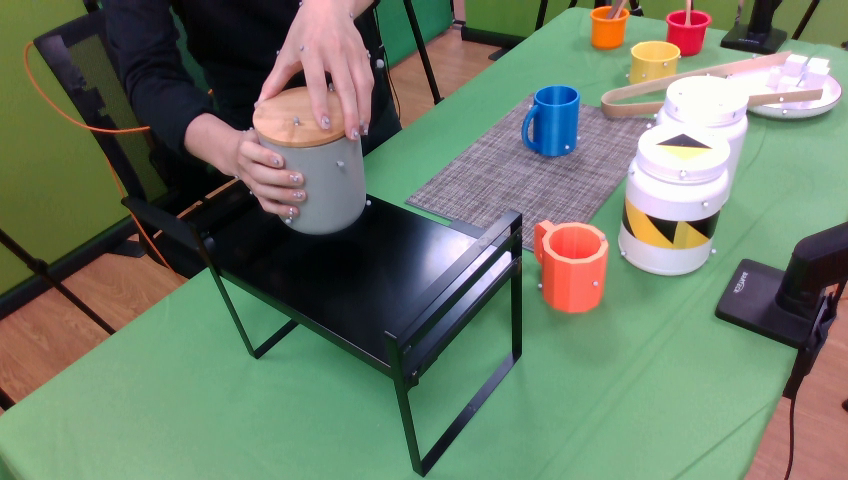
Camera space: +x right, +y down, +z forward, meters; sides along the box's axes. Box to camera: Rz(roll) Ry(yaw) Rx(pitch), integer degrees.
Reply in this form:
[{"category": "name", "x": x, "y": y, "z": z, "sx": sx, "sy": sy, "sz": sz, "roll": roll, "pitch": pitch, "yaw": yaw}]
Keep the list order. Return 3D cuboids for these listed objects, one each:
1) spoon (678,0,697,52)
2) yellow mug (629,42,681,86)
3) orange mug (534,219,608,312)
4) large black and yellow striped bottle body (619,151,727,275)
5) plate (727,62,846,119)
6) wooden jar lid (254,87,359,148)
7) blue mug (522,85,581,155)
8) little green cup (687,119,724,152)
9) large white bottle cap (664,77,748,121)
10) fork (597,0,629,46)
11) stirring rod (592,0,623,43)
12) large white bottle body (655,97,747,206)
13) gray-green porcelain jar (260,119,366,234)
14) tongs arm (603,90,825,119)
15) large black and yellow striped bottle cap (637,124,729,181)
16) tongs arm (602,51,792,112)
[{"category": "spoon", "x": 0.614, "y": -0.526, "z": 1.402, "sx": 0.041, "sy": 0.022, "sz": 0.193, "roll": 3, "pitch": 86, "yaw": 11}, {"category": "yellow mug", "x": 0.495, "y": -0.389, "z": 1.321, "sx": 0.100, "sy": 0.064, "sz": 0.130, "roll": -14, "pitch": 40, "yaw": -6}, {"category": "orange mug", "x": 0.200, "y": 0.027, "z": 0.858, "sx": 0.084, "sy": 0.101, "sz": 0.125, "roll": -24, "pitch": 47, "yaw": -18}, {"category": "large black and yellow striped bottle body", "x": 0.354, "y": -0.056, "z": 0.865, "sx": 0.131, "sy": 0.185, "sz": 0.130, "roll": -4, "pitch": 41, "yaw": 4}, {"category": "plate", "x": 0.709, "y": -0.292, "z": 1.198, "sx": 0.207, "sy": 0.039, "sz": 0.206, "roll": -4, "pitch": 40, "yaw": 4}, {"category": "wooden jar lid", "x": -0.121, "y": -0.125, "z": 0.632, "sx": 0.108, "sy": 0.021, "sz": 0.108, "roll": 0, "pitch": 43, "yaw": 0}, {"category": "blue mug", "x": 0.233, "y": -0.218, "z": 1.127, "sx": 0.117, "sy": 0.106, "sz": 0.081, "roll": -23, "pitch": 43, "yaw": -16}, {"category": "little green cup", "x": 0.514, "y": -0.191, "z": 1.109, "sx": 0.061, "sy": 0.039, "sz": 0.061, "roll": -5, "pitch": 40, "yaw": 5}, {"category": "large white bottle cap", "x": 0.421, "y": -0.212, "z": 0.905, "sx": 0.115, "sy": 0.018, "sz": 0.114, "roll": -4, "pitch": 40, "yaw": 4}, {"category": "fork", "x": 0.479, "y": -0.558, "z": 1.455, "sx": 0.028, "sy": 0.019, "sz": 0.207, "roll": 35, "pitch": 100, "yaw": 37}, {"category": "stirring rod", "x": 0.460, "y": -0.557, "z": 1.461, "sx": 0.014, "sy": 0.176, "sz": 0.006, "roll": 35, "pitch": 11, "yaw": 22}, {"category": "large white bottle body", "x": 0.431, "y": -0.148, "z": 0.959, "sx": 0.130, "sy": 0.185, "sz": 0.130, "roll": -4, "pitch": 41, "yaw": 4}, {"category": "gray-green porcelain jar", "x": -0.120, "y": -0.078, "z": 0.674, "sx": 0.106, "sy": 0.127, "sz": 0.105, "roll": 0, "pitch": 42, "yaw": 0}, {"category": "tongs arm", "x": 0.546, "y": -0.262, "z": 1.163, "sx": 0.386, "sy": 0.028, "sz": 0.028, "roll": -1, "pitch": 49, "yaw": 18}, {"category": "large black and yellow striped bottle cap", "x": 0.346, "y": -0.119, "z": 0.810, "sx": 0.115, "sy": 0.019, "sz": 0.114, "roll": -5, "pitch": 41, "yaw": 5}, {"category": "tongs arm", "x": 0.552, "y": -0.320, "z": 1.224, "sx": 0.384, "sy": 0.027, "sz": 0.050, "roll": -11, "pitch": 44, "yaw": 7}]
